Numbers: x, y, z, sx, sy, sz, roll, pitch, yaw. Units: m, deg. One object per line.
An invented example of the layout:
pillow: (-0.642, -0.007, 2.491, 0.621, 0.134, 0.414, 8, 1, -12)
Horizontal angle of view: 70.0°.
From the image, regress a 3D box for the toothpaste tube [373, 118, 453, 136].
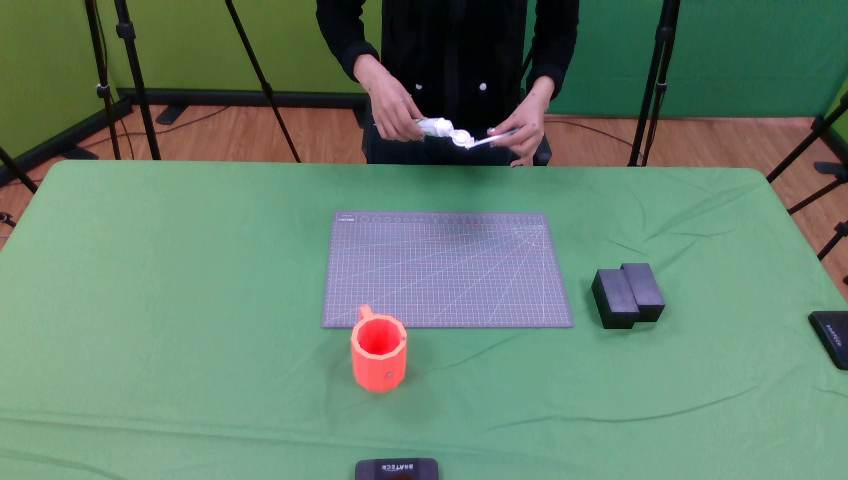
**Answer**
toothpaste tube: (-0.016, -0.216, 1.155, 0.164, 0.055, 0.034, 9, 87, 32)

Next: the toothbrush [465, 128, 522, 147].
toothbrush: (0.133, -0.196, 1.144, 0.014, 0.017, 0.182, 2, 17, 41)

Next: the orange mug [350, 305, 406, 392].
orange mug: (-0.080, 0.168, 0.978, 0.083, 0.101, 0.125, -16, 54, -18)

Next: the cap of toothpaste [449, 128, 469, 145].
cap of toothpaste: (0.066, -0.194, 1.126, 0.037, 0.011, 0.037, 1, 68, -1)
